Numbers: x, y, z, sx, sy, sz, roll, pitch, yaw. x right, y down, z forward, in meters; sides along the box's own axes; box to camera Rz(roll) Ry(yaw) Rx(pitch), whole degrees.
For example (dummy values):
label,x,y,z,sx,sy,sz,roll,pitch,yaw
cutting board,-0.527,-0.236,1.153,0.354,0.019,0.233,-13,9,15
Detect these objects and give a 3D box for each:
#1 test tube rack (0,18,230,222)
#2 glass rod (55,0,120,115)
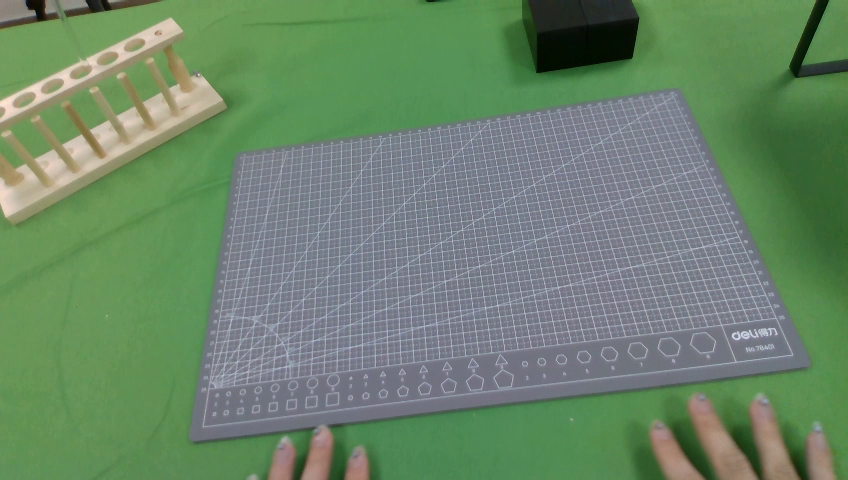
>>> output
label,x,y,z,sx,sy,sz,roll,pitch,yaw
test tube rack,-0.336,-0.126,0.622,0.242,0.086,0.066,-34,56,-15
glass rod,-0.334,-0.192,0.587,0.008,0.201,0.008,-2,45,3
